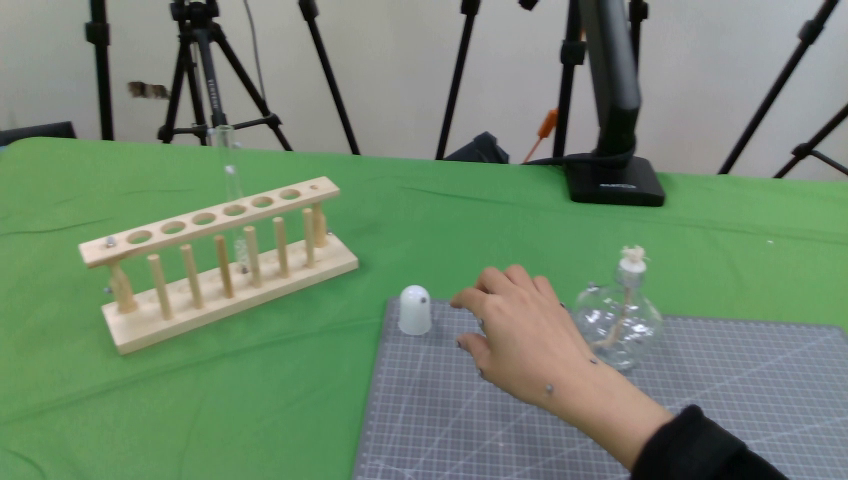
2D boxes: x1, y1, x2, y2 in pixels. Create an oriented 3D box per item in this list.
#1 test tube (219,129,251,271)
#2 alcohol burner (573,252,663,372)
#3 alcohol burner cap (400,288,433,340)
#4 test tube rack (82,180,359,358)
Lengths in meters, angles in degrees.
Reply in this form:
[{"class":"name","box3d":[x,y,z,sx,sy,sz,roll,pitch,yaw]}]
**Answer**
[{"class":"test tube","box3d":[-0.183,-0.035,0.594,0.017,0.151,0.017,2,29,0]},{"class":"alcohol burner","box3d":[0.173,0.057,0.530,0.078,0.120,0.077,2,36,-1]},{"class":"alcohol burner cap","box3d":[-0.007,0.067,0.573,0.034,0.048,0.033,1,35,0]},{"class":"test tube rack","box3d":[-0.189,0.021,0.600,0.243,0.086,0.066,-20,40,-28]}]
